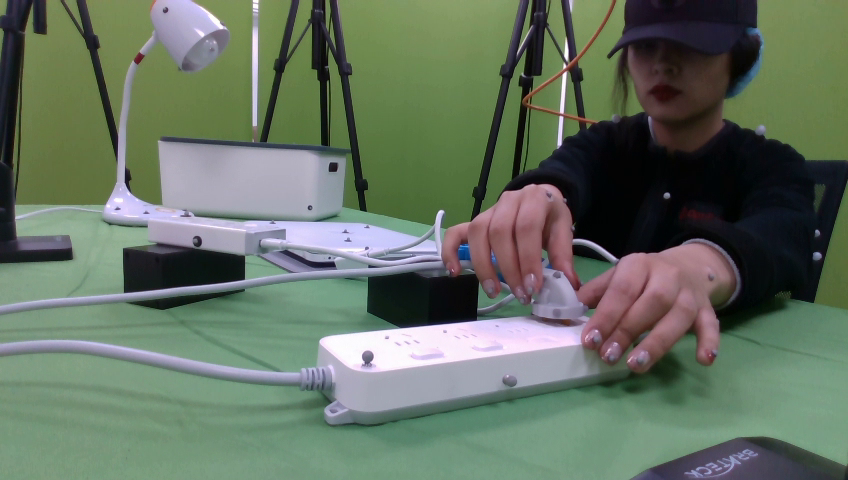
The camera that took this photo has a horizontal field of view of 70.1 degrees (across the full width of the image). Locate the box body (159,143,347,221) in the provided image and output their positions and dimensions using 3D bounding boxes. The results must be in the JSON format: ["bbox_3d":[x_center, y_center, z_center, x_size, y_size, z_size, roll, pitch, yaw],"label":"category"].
[{"bbox_3d":[-0.384,-0.137,1.406,0.364,0.160,0.254,3,8,7],"label":"box body"}]

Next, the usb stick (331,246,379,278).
[{"bbox_3d":[-0.084,0.027,0.702,0.059,0.027,0.021,-17,14,26],"label":"usb stick"}]

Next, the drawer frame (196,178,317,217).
[{"bbox_3d":[-0.376,-0.101,1.393,0.213,0.082,0.202,1,8,6],"label":"drawer frame"}]

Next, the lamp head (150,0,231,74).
[{"bbox_3d":[-0.432,-0.375,1.086,0.123,0.112,0.112,42,8,-2],"label":"lamp head"}]

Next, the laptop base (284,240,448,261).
[{"bbox_3d":[-0.125,0.002,0.945,0.237,0.023,0.352,2,6,-31],"label":"laptop base"}]

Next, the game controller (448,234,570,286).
[{"bbox_3d":[0.099,0.021,0.755,0.097,0.051,0.154,-7,10,-29],"label":"game controller"}]

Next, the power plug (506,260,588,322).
[{"bbox_3d":[0.091,0.042,0.444,0.035,0.052,0.072,-1,6,-18],"label":"power plug"}]

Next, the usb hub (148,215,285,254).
[{"bbox_3d":[-0.196,-0.006,0.573,0.125,0.025,0.050,7,8,23],"label":"usb hub"}]

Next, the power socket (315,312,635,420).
[{"bbox_3d":[0.039,0.072,0.385,0.228,0.032,0.072,-2,7,-29],"label":"power socket"}]

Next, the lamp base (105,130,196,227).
[{"bbox_3d":[-0.532,-0.120,1.153,0.179,0.180,0.161,1,7,8],"label":"lamp base"}]

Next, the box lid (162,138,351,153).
[{"bbox_3d":[-0.371,-0.215,1.394,0.371,0.015,0.263,4,8,7],"label":"box lid"}]

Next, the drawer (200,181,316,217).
[{"bbox_3d":[-0.372,-0.097,1.393,0.212,0.073,0.194,1,9,6],"label":"drawer"}]

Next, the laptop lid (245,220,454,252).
[{"bbox_3d":[-0.123,-0.009,0.945,0.243,0.013,0.355,1,7,-29],"label":"laptop lid"}]
